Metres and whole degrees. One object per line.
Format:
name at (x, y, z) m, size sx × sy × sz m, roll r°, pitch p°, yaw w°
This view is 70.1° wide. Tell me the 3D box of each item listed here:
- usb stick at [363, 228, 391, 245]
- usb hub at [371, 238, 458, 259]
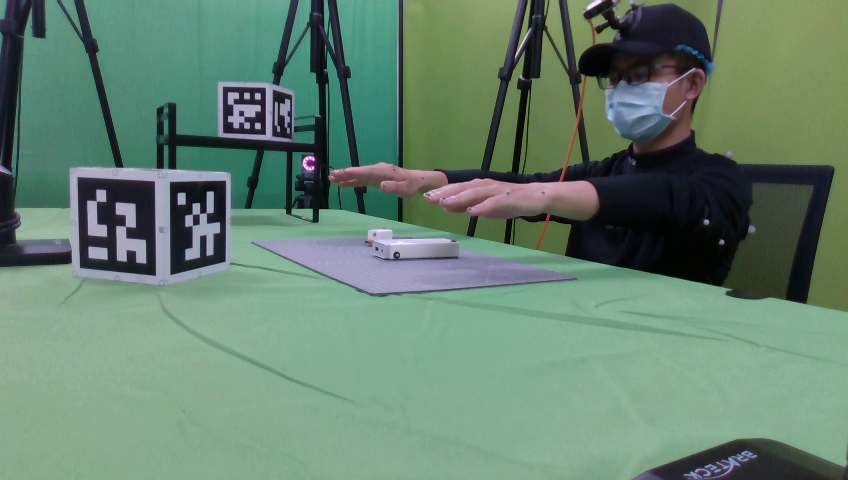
usb stick at (-0.080, -0.005, 1.020) m, size 0.021 × 0.027 × 0.059 m, roll 10°, pitch 13°, yaw 30°
usb hub at (-0.013, 0.012, 0.908) m, size 0.126 × 0.025 × 0.049 m, roll -2°, pitch 9°, yaw -28°
